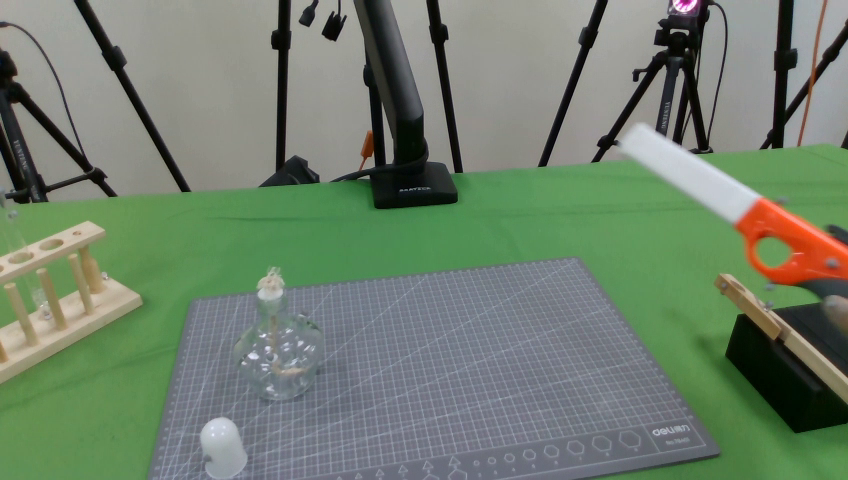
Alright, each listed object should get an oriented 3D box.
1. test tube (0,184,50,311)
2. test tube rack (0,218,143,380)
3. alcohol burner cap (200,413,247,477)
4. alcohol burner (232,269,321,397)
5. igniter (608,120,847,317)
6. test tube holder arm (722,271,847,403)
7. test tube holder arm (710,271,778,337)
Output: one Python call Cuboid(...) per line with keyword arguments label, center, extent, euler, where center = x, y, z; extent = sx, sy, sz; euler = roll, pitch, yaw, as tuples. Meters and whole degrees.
Cuboid(label="test tube", center=(-0.389, 0.009, 0.581), extent=(0.017, 0.151, 0.017), euler=(1, 34, 0))
Cuboid(label="test tube rack", center=(-0.403, 0.073, 0.571), extent=(0.066, 0.086, 0.242), euler=(21, 37, 30))
Cuboid(label="alcohol burner cap", center=(-0.158, 0.156, 0.471), extent=(0.034, 0.048, 0.033), euler=(0, 32, 0))
Cuboid(label="alcohol burner", center=(-0.130, 0.078, 0.529), extent=(0.078, 0.120, 0.077), euler=(0, 30, 0))
Cuboid(label="igniter", center=(0.246, -0.015, 0.455), extent=(0.025, 0.057, 0.273), euler=(21, 21, -47))
Cuboid(label="test tube holder arm", center=(0.312, 0.081, 0.525), extent=(0.013, 0.015, 0.176), euler=(1, 31, -17))
Cuboid(label="test tube holder arm", center=(0.296, 0.058, 0.560), extent=(0.010, 0.015, 0.087), euler=(1, 31, -17))
